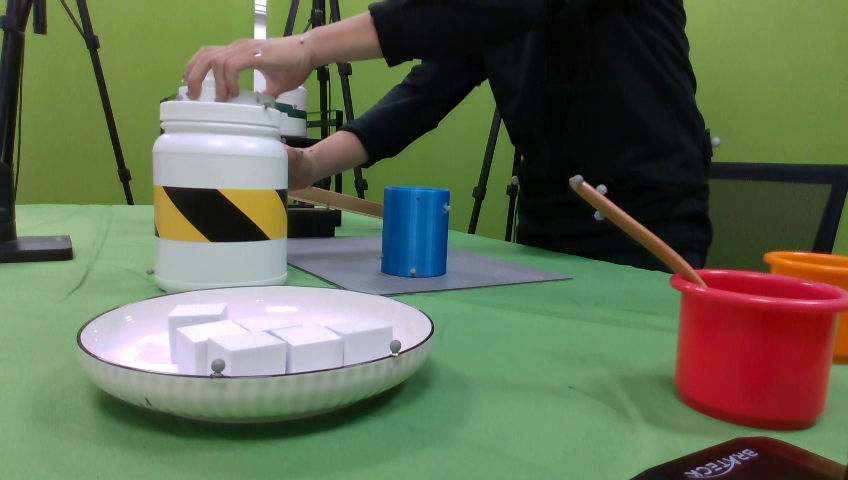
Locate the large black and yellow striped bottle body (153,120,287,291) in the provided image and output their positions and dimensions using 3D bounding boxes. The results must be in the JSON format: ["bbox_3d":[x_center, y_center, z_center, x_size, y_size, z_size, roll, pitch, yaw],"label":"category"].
[{"bbox_3d":[-0.208,-0.043,0.626,0.131,0.184,0.130,2,7,0],"label":"large black and yellow striped bottle body"}]

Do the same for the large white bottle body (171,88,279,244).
[{"bbox_3d":[-0.253,-0.095,0.775,0.131,0.184,0.130,4,9,0],"label":"large white bottle body"}]

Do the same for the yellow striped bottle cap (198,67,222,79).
[{"bbox_3d":[-0.412,-0.320,1.163,0.044,0.018,0.044,0,6,0],"label":"yellow striped bottle cap"}]

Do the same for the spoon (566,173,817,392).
[{"bbox_3d":[0.161,0.024,0.370,0.193,0.021,0.042,47,18,3],"label":"spoon"}]

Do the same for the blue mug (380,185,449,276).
[{"bbox_3d":[-0.018,-0.016,0.764,0.083,0.106,0.116,-2,8,-25],"label":"blue mug"}]

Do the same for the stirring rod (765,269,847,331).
[{"bbox_3d":[0.351,0.019,0.483,0.176,0.006,0.014,-39,-7,12],"label":"stirring rod"}]

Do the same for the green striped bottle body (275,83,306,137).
[{"bbox_3d":[-0.269,-0.269,1.221,0.063,0.119,0.063,2,7,0],"label":"green striped bottle body"}]

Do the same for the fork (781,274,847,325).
[{"bbox_3d":[0.332,0.018,0.443,0.028,0.018,0.207,-1,-36,-15],"label":"fork"}]

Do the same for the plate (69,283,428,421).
[{"bbox_3d":[-0.102,0.066,0.380,0.208,0.039,0.207,2,7,0],"label":"plate"}]

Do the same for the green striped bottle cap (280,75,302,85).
[{"bbox_3d":[-0.267,-0.320,1.216,0.044,0.020,0.044,3,9,0],"label":"green striped bottle cap"}]

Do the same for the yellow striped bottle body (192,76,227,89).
[{"bbox_3d":[-0.414,-0.268,1.169,0.063,0.120,0.063,2,7,0],"label":"yellow striped bottle body"}]

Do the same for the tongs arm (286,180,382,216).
[{"bbox_3d":[-0.122,-0.066,1.147,0.387,0.026,0.050,11,-3,-37],"label":"tongs arm"}]

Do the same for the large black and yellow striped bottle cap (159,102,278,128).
[{"bbox_3d":[-0.207,-0.125,0.615,0.115,0.019,0.115,2,6,0],"label":"large black and yellow striped bottle cap"}]

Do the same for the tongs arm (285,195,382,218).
[{"bbox_3d":[-0.165,-0.074,1.216,0.389,0.027,0.028,11,-6,-24],"label":"tongs arm"}]

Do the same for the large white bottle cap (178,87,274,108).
[{"bbox_3d":[-0.249,-0.178,0.761,0.115,0.018,0.115,3,9,0],"label":"large white bottle cap"}]
